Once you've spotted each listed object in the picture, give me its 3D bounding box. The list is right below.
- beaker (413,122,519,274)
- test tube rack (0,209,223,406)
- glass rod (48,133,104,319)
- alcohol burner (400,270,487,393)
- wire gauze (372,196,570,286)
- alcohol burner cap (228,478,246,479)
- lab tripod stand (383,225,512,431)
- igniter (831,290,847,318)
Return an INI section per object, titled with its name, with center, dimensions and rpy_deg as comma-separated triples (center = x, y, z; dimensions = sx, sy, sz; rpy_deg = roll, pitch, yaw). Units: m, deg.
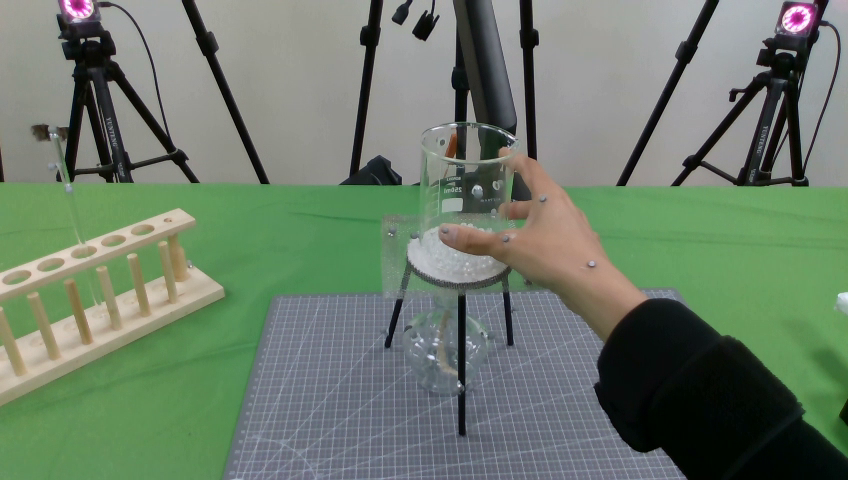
[beaker]
center = 0.032, -0.031, 0.468
dimensions = 0.084, 0.101, 0.073
rpy_deg = -13, 36, -23
[test tube rack]
center = -0.321, 0.059, 0.575
dimensions = 0.066, 0.086, 0.242
rpy_deg = 27, 39, 34
[glass rod]
center = -0.314, -0.004, 0.550
dimensions = 0.008, 0.201, 0.008
rpy_deg = 5, 34, -3
[alcohol burner]
center = 0.018, 0.075, 0.532
dimensions = 0.078, 0.120, 0.077
rpy_deg = 3, 31, -1
[wire gauze]
center = 0.033, -0.001, 0.481
dimensions = 0.125, 0.011, 0.120
rpy_deg = -8, 30, -24
[alcohol burner cap]
center = -0.129, 0.184, 0.417
dimensions = 0.034, 0.048, 0.033
rpy_deg = 3, 33, -2
[lab tripod stand]
center = 0.028, 0.067, 0.527
dimensions = 0.148, 0.132, 0.147
rpy_deg = 3, 33, -1
[igniter]
center = 0.426, 0.121, 0.475
dimensions = 0.057, 0.025, 0.274
rpy_deg = -2, 28, -5
